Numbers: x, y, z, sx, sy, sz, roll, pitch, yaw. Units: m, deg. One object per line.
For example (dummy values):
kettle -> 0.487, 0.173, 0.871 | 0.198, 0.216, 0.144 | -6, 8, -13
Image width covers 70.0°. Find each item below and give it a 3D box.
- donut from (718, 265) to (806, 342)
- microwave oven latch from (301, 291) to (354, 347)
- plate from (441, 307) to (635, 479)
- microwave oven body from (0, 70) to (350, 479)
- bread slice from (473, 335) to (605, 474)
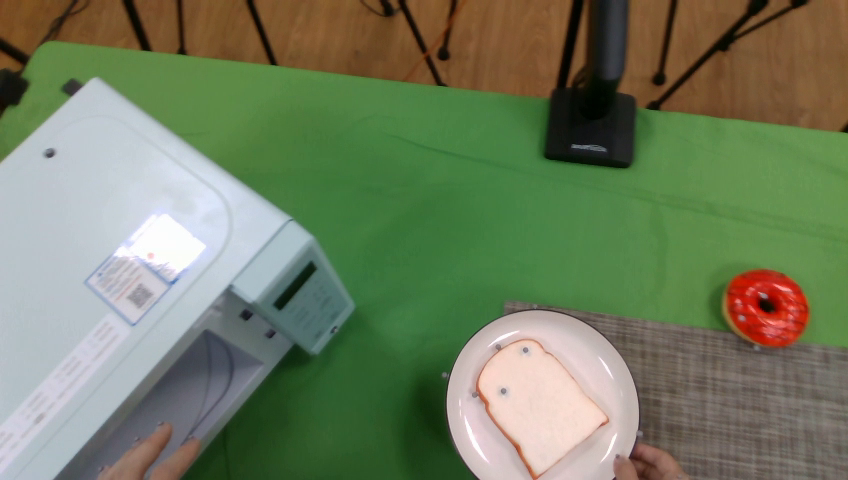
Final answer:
donut -> 0.408, 0.076, 0.732 | 0.099, 0.048, 0.098 | -2, 65, 5
microwave oven latch -> -0.119, 0.091, 0.740 | 0.030, 0.030, 0.079 | 37, 76, 15
plate -> 0.122, 0.178, 0.665 | 0.207, 0.039, 0.206 | -1, 71, 2
microwave oven body -> -0.350, 0.106, 0.642 | 0.324, 0.262, 0.441 | 35, 75, 14
bread slice -> 0.118, 0.172, 0.668 | 0.105, 0.019, 0.130 | -36, 74, -11
